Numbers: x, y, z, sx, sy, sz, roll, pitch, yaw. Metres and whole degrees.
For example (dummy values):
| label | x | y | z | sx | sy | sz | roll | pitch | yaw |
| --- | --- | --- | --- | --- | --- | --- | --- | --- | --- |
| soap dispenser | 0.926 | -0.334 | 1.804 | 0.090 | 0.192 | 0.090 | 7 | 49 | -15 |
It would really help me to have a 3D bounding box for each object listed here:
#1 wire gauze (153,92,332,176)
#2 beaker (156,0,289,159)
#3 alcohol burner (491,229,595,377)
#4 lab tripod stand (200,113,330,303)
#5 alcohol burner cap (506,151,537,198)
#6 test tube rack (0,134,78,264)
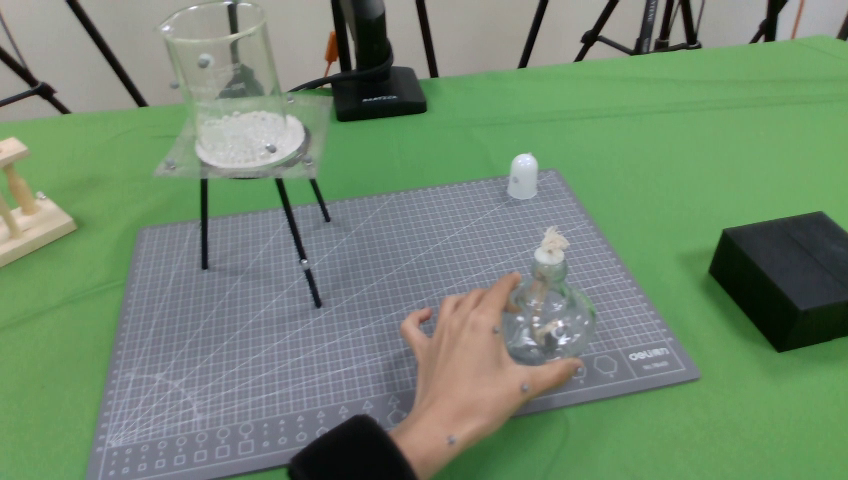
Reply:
| label | x | y | z | sx | sy | sz | roll | pitch | yaw |
| --- | --- | --- | --- | --- | --- | --- | --- | --- | --- |
| wire gauze | -0.141 | -0.086 | 0.492 | 0.125 | 0.011 | 0.120 | -3 | 40 | 4 |
| beaker | -0.146 | -0.118 | 0.454 | 0.084 | 0.101 | 0.073 | 3 | 42 | 5 |
| alcohol burner | 0.089 | 0.043 | 0.445 | 0.078 | 0.120 | 0.077 | -1 | 36 | 1 |
| lab tripod stand | -0.136 | -0.031 | 0.527 | 0.148 | 0.133 | 0.147 | -1 | 43 | 2 |
| alcohol burner cap | 0.104 | -0.072 | 0.640 | 0.034 | 0.048 | 0.033 | -1 | 41 | 1 |
| test tube rack | -0.459 | 0.000 | 0.541 | 0.066 | 0.086 | 0.242 | 29 | 49 | 30 |
